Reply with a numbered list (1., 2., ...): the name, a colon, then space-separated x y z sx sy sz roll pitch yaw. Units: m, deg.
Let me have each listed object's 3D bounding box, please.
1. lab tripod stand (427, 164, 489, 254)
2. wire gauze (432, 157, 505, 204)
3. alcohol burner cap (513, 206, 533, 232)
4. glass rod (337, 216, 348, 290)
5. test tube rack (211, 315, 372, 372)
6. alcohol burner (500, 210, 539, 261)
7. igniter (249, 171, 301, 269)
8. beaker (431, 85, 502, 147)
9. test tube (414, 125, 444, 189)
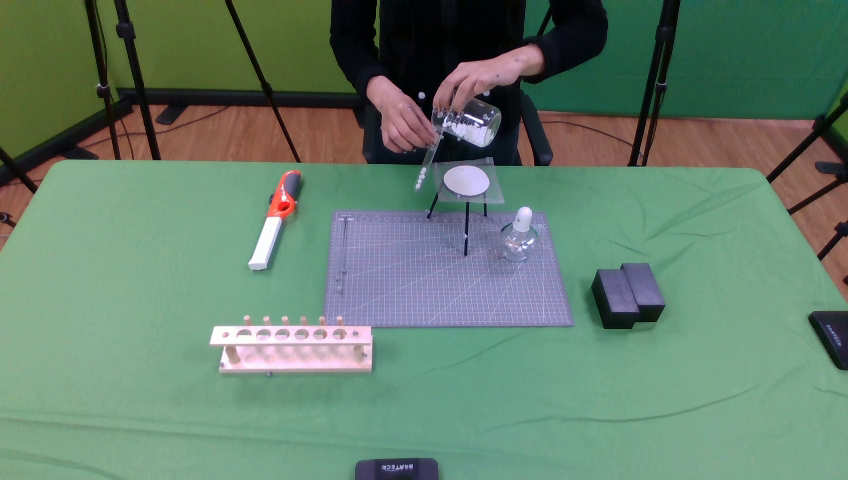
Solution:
1. lab tripod stand: 0.078 -0.068 1.188 0.148 0.132 0.147 3 47 -3
2. wire gauze: 0.081 -0.112 1.137 0.125 0.011 0.120 -2 48 -6
3. alcohol burner cap: 0.187 -0.042 1.134 0.034 0.048 0.033 6 41 -5
4. glass rod: -0.158 0.021 1.171 0.008 0.008 0.198 1 43 -2
5. test tube rack: -0.208 0.163 0.982 0.242 0.085 0.066 1 46 -4
6. alcohol burner: 0.185 -0.016 1.159 0.078 0.119 0.077 2 48 -2
7. igniter: -0.297 -0.049 1.221 0.057 0.025 0.275 -1 45 9
8. beaker: 0.073 -0.205 1.022 0.100 0.084 0.074 28 42 18
9. test tube: 0.007 -0.148 1.114 0.017 0.151 0.017 11 46 -12
